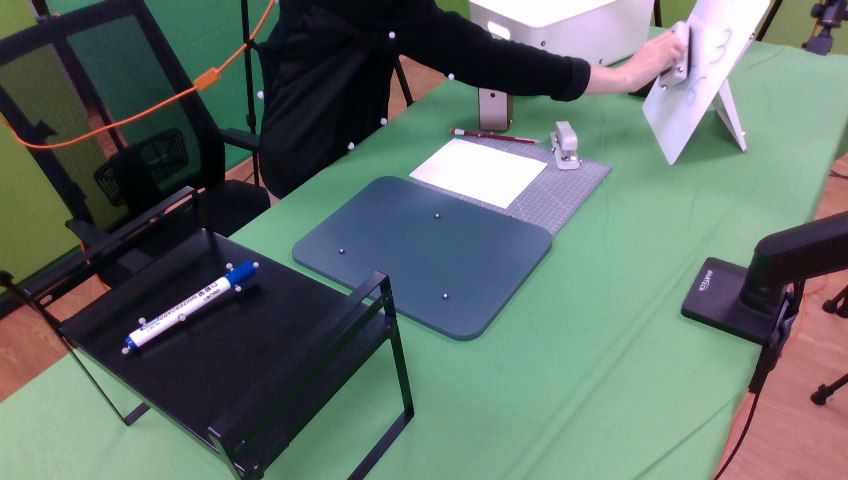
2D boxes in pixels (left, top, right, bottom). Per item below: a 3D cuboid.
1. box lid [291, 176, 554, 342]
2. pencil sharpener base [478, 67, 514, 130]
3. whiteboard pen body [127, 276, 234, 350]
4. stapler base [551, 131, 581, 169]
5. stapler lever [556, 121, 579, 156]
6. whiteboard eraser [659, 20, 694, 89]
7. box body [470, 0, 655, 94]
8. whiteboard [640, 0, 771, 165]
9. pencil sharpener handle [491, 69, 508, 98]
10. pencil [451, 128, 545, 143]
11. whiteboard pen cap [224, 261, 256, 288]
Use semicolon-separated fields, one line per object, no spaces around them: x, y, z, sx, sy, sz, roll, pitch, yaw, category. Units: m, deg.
-0.005;0.011;0.971;0.368;0.015;0.264;22;49;30;box lid
0.148;-0.287;1.225;0.061;0.107;0.076;5;42;15;pencil sharpener base
-0.251;0.071;0.649;0.141;0.017;0.017;-36;48;-26;whiteboard pen body
0.268;-0.178;1.142;0.041;0.024;0.130;0;37;3;stapler base
0.266;-0.198;1.128;0.027;0.040;0.117;0;38;3;stapler lever
0.458;-0.334;1.094;0.042;0.055;0.112;14;77;-18;whiteboard eraser
0.319;-0.498;1.405;0.365;0.161;0.252;-26;44;-21;box body
0.544;-0.299;1.076;0.144;0.305;0.216;12;40;-6;whiteboard
0.155;-0.330;1.254;0.036;0.068;0.030;17;44;3;pencil sharpener handle
0.145;-0.207;1.204;0.193;0.012;0.012;11;44;21;pencil
-0.207;0.039;0.677;0.033;0.018;0.018;-35;47;-18;whiteboard pen cap
